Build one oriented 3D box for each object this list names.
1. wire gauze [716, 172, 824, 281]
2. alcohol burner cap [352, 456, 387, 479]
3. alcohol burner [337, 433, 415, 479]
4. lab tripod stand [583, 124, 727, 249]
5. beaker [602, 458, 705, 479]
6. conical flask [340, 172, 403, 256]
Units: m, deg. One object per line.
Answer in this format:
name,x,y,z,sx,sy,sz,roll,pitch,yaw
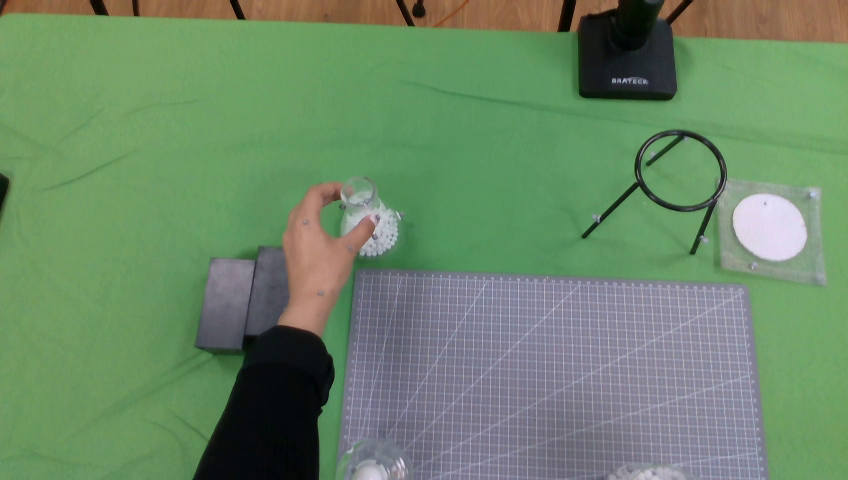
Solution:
wire gauze,0.407,-0.019,0.712,0.125,0.011,0.121,8,73,3
alcohol burner cap,-0.050,0.215,0.552,0.034,0.048,0.033,1,73,-3
alcohol burner,-0.049,0.227,0.586,0.078,0.120,0.077,-1,71,4
lab tripod stand,0.255,-0.053,0.662,0.148,0.132,0.147,-1,74,2
beaker,0.216,0.245,0.580,0.084,0.101,0.073,-30,73,-8
conical flask,-0.065,-0.033,0.670,0.075,0.122,0.075,-1,71,2
